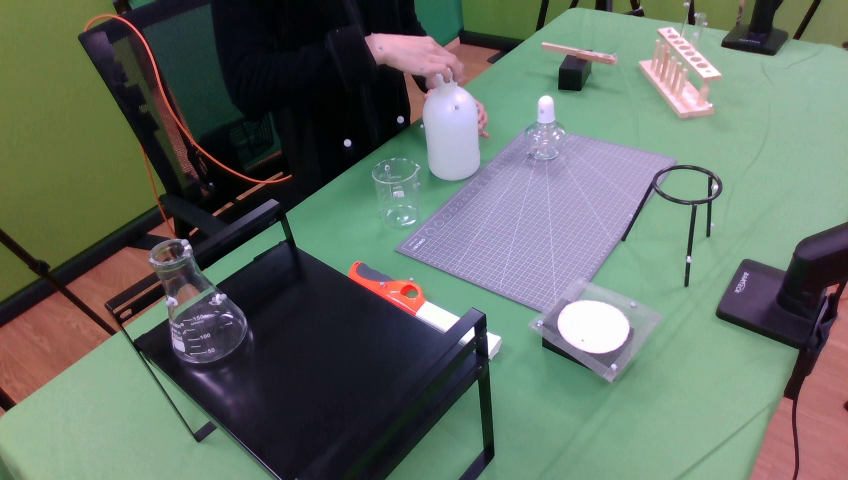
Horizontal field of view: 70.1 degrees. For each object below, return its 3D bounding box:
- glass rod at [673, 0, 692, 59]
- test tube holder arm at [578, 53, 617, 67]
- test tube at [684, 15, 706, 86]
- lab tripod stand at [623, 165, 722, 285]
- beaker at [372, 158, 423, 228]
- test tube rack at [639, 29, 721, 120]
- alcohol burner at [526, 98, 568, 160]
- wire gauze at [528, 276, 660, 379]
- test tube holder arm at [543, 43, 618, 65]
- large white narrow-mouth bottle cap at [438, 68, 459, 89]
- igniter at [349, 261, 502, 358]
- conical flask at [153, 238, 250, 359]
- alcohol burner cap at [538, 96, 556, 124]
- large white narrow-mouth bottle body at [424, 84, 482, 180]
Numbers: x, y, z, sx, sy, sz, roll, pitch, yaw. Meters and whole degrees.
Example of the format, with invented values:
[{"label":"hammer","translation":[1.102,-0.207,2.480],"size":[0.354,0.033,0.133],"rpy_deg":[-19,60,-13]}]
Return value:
[{"label":"glass rod","translation":[0.537,-0.437,1.257],"size":[0.008,0.200,0.008],"rpy_deg":[0,39,1]},{"label":"test tube holder arm","translation":[0.376,-0.393,1.314],"size":[0.087,0.015,0.010],"rpy_deg":[26,51,32]},{"label":"test tube","translation":[0.541,-0.378,1.215],"size":[0.017,0.151,0.017],"rpy_deg":[-2,44,3]},{"label":"lab tripod stand","translation":[0.365,-0.030,0.874],"size":[0.148,0.132,0.147],"rpy_deg":[-6,41,6]},{"label":"beaker","translation":[-0.039,-0.079,1.022],"size":[0.084,0.101,0.073],"rpy_deg":[-17,41,-11]},{"label":"test tube rack","translation":[0.527,-0.351,1.262],"size":[0.067,0.085,0.241],"rpy_deg":[-8,40,1]},{"label":"alcohol burner","translation":[0.228,-0.210,1.118],"size":[0.078,0.119,0.077],"rpy_deg":[-5,43,5]},{"label":"wire gauze","translation":[0.213,0.103,0.763],"size":[0.124,0.011,0.122],"rpy_deg":[30,52,35]},{"label":"test tube holder arm","translation":[0.344,-0.413,1.340],"size":[0.177,0.015,0.013],"rpy_deg":[25,51,31]},{"label":"large white narrow-mouth bottle cap","translation":[0.042,-0.276,1.033],"size":[0.038,0.024,0.037],"rpy_deg":[-4,41,4]},{"label":"igniter","translation":[-0.009,0.093,0.870],"size":[0.274,0.025,0.057],"rpy_deg":[24,60,33]},{"label":"conical flask","translation":[-0.225,0.055,0.597],"size":[0.075,0.122,0.075],"rpy_deg":[-5,41,4]},{"label":"alcohol burner cap","translation":[0.222,-0.237,1.095],"size":[0.034,0.048,0.033],"rpy_deg":[-7,34,5]},{"label":"large white narrow-mouth bottle body","translation":[0.051,-0.211,1.090],"size":[0.102,0.195,0.101],"rpy_deg":[-4,41,4]}]
